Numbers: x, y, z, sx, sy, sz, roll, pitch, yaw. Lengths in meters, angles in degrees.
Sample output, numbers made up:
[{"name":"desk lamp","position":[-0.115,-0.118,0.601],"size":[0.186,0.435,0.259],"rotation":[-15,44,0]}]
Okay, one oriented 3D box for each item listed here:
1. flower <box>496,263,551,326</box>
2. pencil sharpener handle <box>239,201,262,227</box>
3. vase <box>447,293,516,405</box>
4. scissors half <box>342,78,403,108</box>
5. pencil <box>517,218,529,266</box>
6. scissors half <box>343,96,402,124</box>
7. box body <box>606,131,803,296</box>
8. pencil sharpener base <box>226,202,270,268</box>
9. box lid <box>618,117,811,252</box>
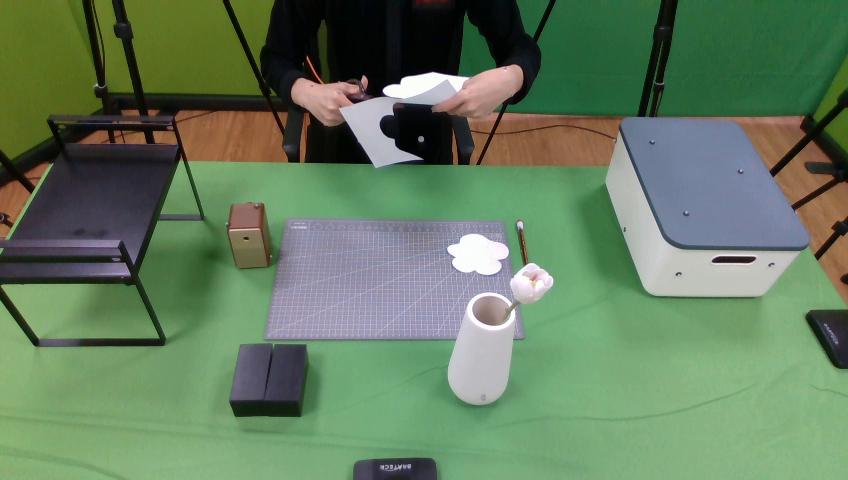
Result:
[{"name":"flower","position":[0.102,0.120,0.853],"size":[0.044,0.363,0.038],"rotation":[-2,64,-10]},{"name":"pencil sharpener handle","position":[-0.325,-0.055,1.150],"size":[0.036,0.068,0.030],"rotation":[-13,46,3]},{"name":"vase","position":[0.091,0.169,0.921],"size":[0.098,0.201,0.097],"rotation":[3,47,-3]},{"name":"scissors half","position":[-0.094,-0.259,1.084],"size":[0.013,0.040,0.174],"rotation":[-19,35,-38]},{"name":"pencil","position":[0.200,0.027,1.196],"size":[0.012,0.012,0.193],"rotation":[1,48,-3]},{"name":"scissors half","position":[-0.094,-0.238,1.090],"size":[0.013,0.040,0.174],"rotation":[-13,6,-39]},{"name":"box body","position":[0.530,-0.067,1.204],"size":[0.254,0.161,0.361],"rotation":[1,46,-4]},{"name":"pencil sharpener base","position":[-0.323,-0.010,1.123],"size":[0.061,0.107,0.076],"rotation":[-3,46,-7]},{"name":"box lid","position":[0.534,-0.117,1.149],"size":[0.263,0.015,0.369],"rotation":[0,47,-3]}]
